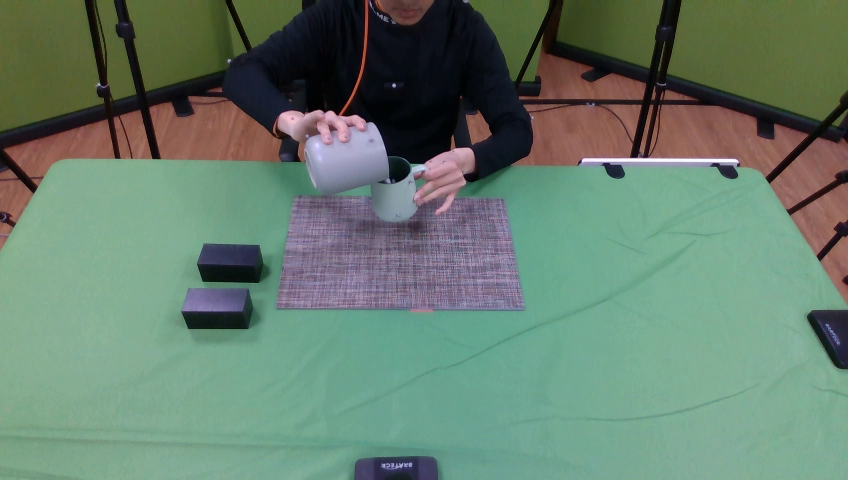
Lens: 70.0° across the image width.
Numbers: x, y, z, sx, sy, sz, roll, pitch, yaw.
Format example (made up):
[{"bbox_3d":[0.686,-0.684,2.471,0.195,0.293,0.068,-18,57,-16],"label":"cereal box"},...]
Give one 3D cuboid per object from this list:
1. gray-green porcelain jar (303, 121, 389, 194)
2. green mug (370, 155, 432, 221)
[{"bbox_3d":[-0.139,-0.142,1.056,0.126,0.106,0.105,-18,50,-14],"label":"gray-green porcelain jar"},{"bbox_3d":[-0.043,-0.104,1.157,0.125,0.105,0.092,-23,51,-14],"label":"green mug"}]
